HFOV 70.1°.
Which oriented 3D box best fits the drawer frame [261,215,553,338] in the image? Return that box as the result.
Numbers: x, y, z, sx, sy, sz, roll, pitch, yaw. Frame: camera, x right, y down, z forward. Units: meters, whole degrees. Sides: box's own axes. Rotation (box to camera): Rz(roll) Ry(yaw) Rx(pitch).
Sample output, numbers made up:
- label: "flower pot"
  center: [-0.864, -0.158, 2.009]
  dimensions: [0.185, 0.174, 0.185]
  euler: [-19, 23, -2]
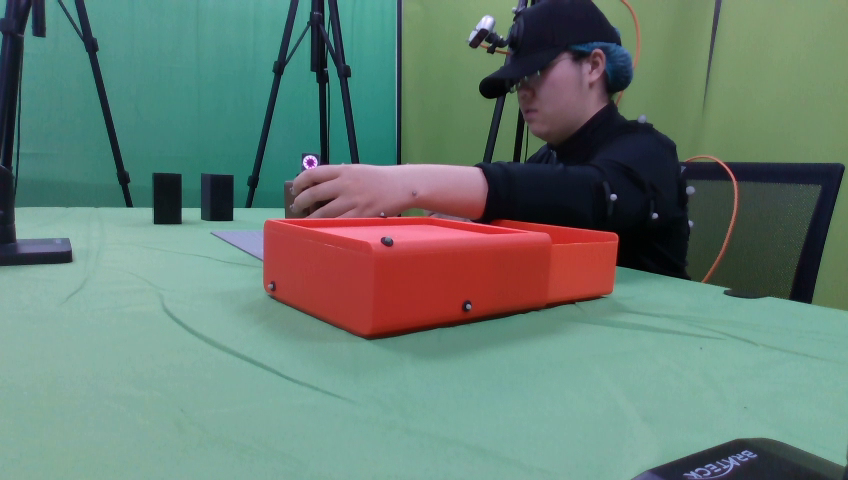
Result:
- label: "drawer frame"
  center: [-0.019, 0.023, 0.595]
  dimensions: [0.215, 0.082, 0.200]
  euler: [-4, 10, -40]

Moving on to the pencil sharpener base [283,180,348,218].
- label: "pencil sharpener base"
  center: [-0.141, -0.025, 0.791]
  dimensions: [0.062, 0.107, 0.076]
  euler: [-5, 8, -37]

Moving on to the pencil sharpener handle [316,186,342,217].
- label: "pencil sharpener handle"
  center: [-0.109, -0.033, 0.750]
  dimensions: [0.036, 0.067, 0.030]
  euler: [-9, 10, -37]

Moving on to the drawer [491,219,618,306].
- label: "drawer"
  center: [0.072, 0.022, 0.671]
  dimensions: [0.213, 0.073, 0.193]
  euler: [-4, 10, -40]

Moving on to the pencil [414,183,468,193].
- label: "pencil"
  center: [0.030, -0.097, 1.136]
  dimensions: [0.012, 0.012, 0.193]
  euler: [-1, 8, -29]
